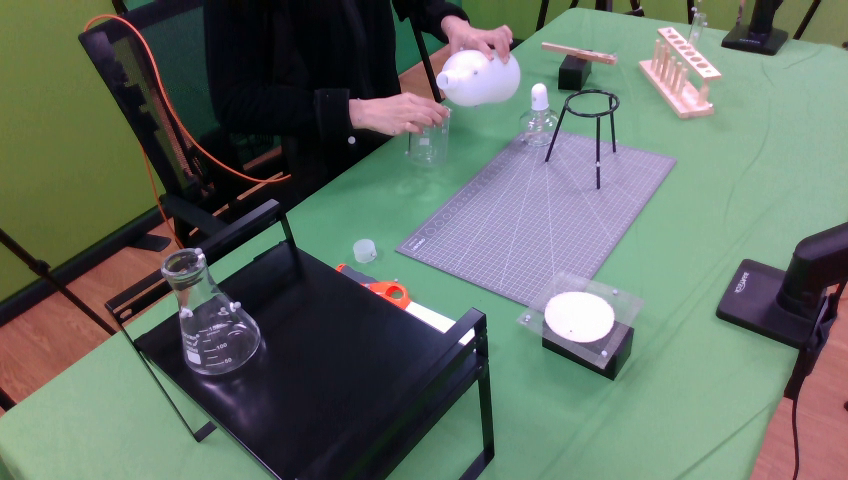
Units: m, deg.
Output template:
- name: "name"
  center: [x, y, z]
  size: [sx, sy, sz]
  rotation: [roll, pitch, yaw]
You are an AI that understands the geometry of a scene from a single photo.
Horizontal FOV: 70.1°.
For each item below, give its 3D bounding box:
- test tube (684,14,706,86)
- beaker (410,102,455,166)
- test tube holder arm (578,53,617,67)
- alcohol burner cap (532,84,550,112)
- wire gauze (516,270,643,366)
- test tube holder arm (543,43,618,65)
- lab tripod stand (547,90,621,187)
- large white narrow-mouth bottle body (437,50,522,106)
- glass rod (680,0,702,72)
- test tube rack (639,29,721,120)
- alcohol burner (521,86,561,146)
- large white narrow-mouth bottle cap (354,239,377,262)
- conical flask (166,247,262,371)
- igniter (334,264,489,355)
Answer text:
- name: "test tube"
  center: [0.540, -0.378, 1.215]
  size: [0.017, 0.151, 0.017]
  rotation: [-2, 44, 3]
- name: "beaker"
  center: [0.013, -0.188, 1.080]
  size: [0.084, 0.100, 0.073]
  rotation: [-7, 29, -23]
- name: "test tube holder arm"
  center: [0.376, -0.393, 1.314]
  size: [0.087, 0.015, 0.010]
  rotation: [26, 50, 32]
- name: "alcohol burner cap"
  center: [0.218, -0.269, 1.133]
  size: [0.034, 0.048, 0.033]
  rotation: [-8, 36, 7]
- name: "wire gauze"
  center: [0.200, 0.093, 0.777]
  size: [0.124, 0.011, 0.122]
  rotation: [23, 49, 32]
- name: "test tube holder arm"
  center: [0.344, -0.413, 1.340]
  size: [0.177, 0.015, 0.013]
  rotation: [25, 49, 31]
- name: "lab tripod stand"
  center: [0.289, -0.184, 1.062]
  size: [0.148, 0.132, 0.147]
  rotation: [-6, 41, 6]
- name: "large white narrow-mouth bottle body"
  center: [0.094, -0.300, 1.121]
  size: [0.101, 0.102, 0.196]
  rotation: [24, 29, 32]
- name: "glass rod"
  center: [0.542, -0.417, 1.233]
  size: [0.008, 0.200, 0.008]
  rotation: [1, 40, 0]
- name: "test tube rack"
  center: [0.527, -0.351, 1.262]
  size: [0.067, 0.085, 0.241]
  rotation: [-8, 40, 1]
- name: "alcohol burner"
  center: [0.223, -0.241, 1.155]
  size: [0.078, 0.119, 0.077]
  rotation: [-5, 43, 5]
- name: "large white narrow-mouth bottle cap"
  center: [-0.095, 0.017, 0.981]
  size: [0.038, 0.024, 0.037]
  rotation: [-4, 40, 4]
- name: "conical flask"
  center: [-0.208, 0.064, 0.584]
  size: [0.075, 0.122, 0.075]
  rotation: [-5, 40, 4]
- name: "igniter"
  center: [-0.030, 0.095, 0.871]
  size: [0.274, 0.025, 0.057]
  rotation: [22, 59, 31]
